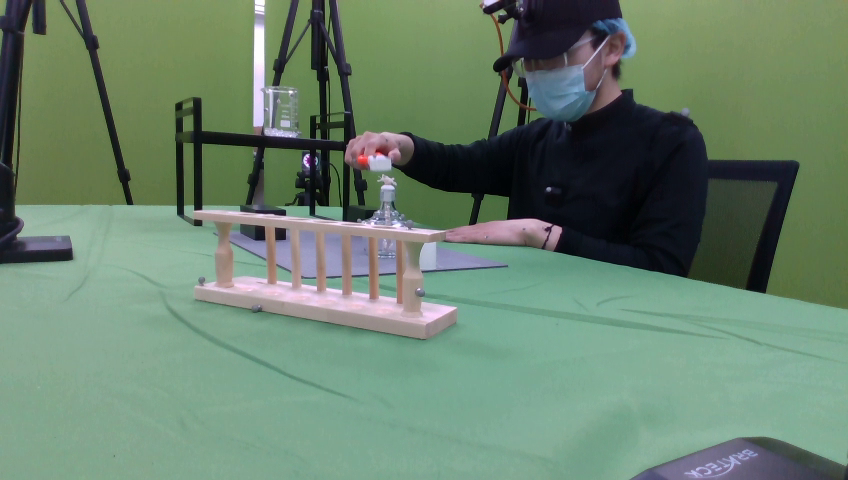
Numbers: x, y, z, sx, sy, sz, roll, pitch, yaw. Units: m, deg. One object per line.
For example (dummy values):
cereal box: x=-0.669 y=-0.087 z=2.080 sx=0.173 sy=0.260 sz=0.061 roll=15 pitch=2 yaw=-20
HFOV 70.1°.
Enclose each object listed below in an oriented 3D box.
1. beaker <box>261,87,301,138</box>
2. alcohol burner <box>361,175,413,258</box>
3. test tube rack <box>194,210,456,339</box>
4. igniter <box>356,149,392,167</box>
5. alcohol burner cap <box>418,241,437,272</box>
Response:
beaker: x=-0.298 y=-0.263 z=1.255 sx=0.084 sy=0.100 sz=0.073 roll=-4 pitch=9 yaw=-40
alcohol burner: x=-0.054 y=-0.033 z=0.870 sx=0.078 sy=0.119 sz=0.078 roll=1 pitch=9 yaw=0
test tube rack: x=-0.093 y=0.023 z=0.546 sx=0.241 sy=0.085 sz=0.067 roll=6 pitch=8 yaw=25
igniter: x=-0.083 y=-0.138 z=1.012 sx=0.057 sy=0.025 sz=0.276 roll=-3 pitch=10 yaw=-8
alcohol burner cap: x=0.001 y=0.015 z=0.787 sx=0.034 sy=0.048 sz=0.034 roll=4 pitch=7 yaw=0
